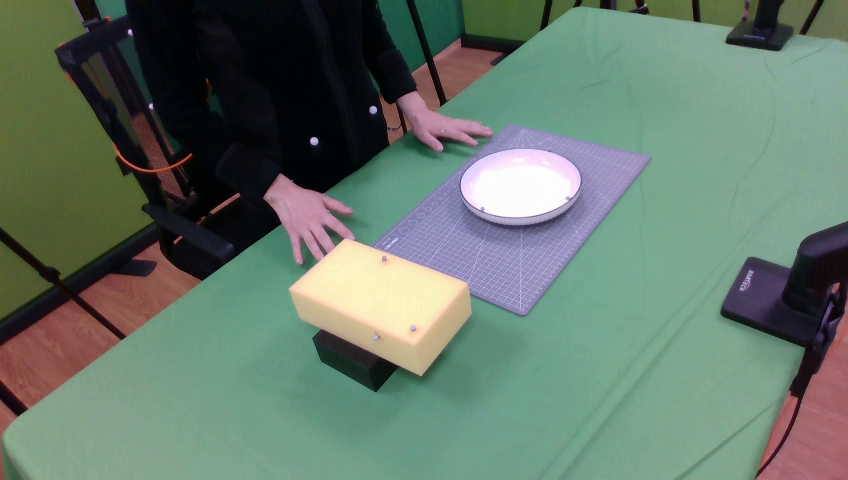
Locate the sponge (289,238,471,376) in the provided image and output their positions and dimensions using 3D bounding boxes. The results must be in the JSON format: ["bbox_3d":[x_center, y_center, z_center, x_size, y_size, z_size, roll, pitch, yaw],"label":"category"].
[{"bbox_3d":[-0.058,0.081,0.794,0.205,0.061,0.118,19,47,29],"label":"sponge"}]

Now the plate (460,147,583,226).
[{"bbox_3d":[0.166,-0.089,1.043,0.209,0.038,0.208,-5,40,5],"label":"plate"}]
